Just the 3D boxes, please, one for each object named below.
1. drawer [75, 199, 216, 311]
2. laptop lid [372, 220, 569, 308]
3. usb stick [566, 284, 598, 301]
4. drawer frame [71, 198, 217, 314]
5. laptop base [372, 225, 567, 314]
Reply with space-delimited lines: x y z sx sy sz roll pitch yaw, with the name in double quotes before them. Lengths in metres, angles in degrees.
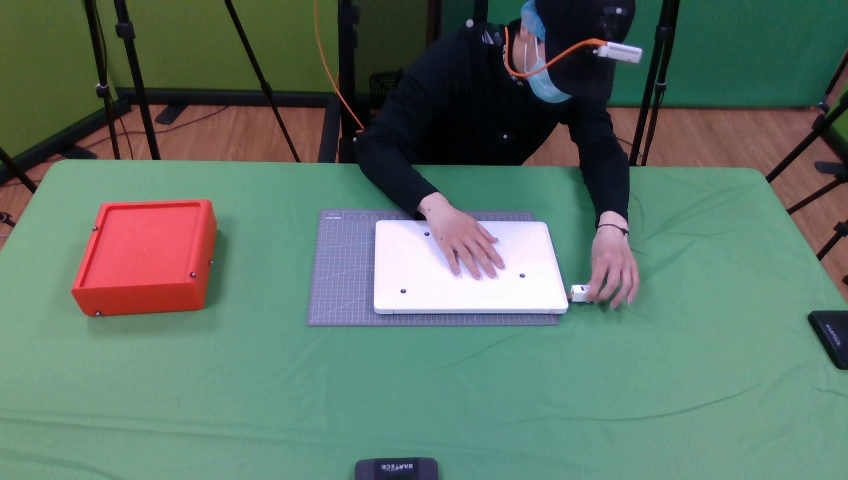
"drawer" -0.494 0.022 1.097 0.195 0.073 0.210 -2 47 -8
"laptop lid" 0.081 0.040 1.152 0.357 0.013 0.240 2 44 -3
"usb stick" 0.286 0.096 1.111 0.059 0.027 0.021 -4 40 -2
"drawer frame" -0.493 0.024 1.096 0.202 0.083 0.212 -3 47 -8
"laptop base" 0.080 0.050 1.159 0.355 0.023 0.234 0 43 -4
